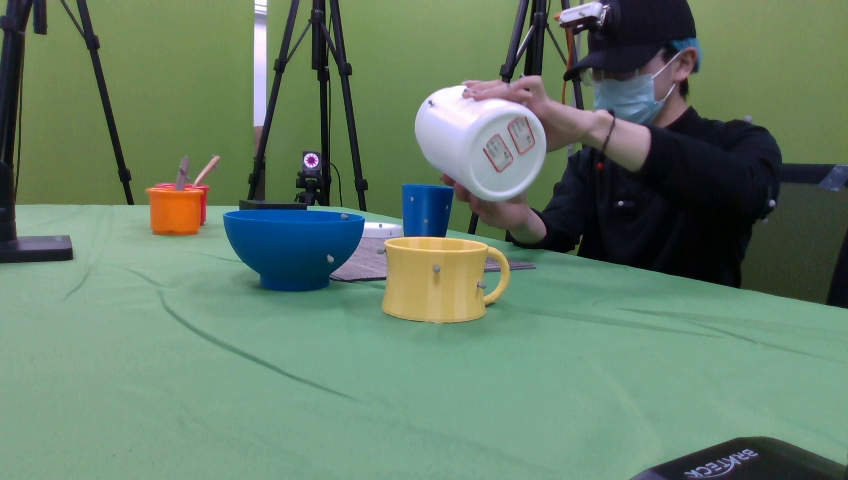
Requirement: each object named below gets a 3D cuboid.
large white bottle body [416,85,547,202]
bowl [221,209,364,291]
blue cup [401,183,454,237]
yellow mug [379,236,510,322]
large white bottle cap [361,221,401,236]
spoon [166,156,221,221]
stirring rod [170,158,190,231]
[{"bbox_3d":[0.071,-0.143,0.849,0.131,0.130,0.183,-1,24,-25],"label":"large white bottle body"},{"bbox_3d":[-0.142,0.011,0.660,0.151,0.077,0.151,2,7,0],"label":"bowl"},{"bbox_3d":[0.003,-0.038,0.966,0.093,0.100,0.092,4,8,0],"label":"blue cup"},{"bbox_3d":[0.024,0.034,0.575,0.131,0.064,0.099,1,7,-22],"label":"yellow mug"},{"bbox_3d":[-0.098,-0.021,1.123,0.115,0.018,0.115,3,7,0],"label":"large white bottle cap"},{"bbox_3d":[-0.447,-0.104,1.192,0.041,0.022,0.193,7,52,14],"label":"spoon"},{"bbox_3d":[-0.426,-0.083,1.059,0.014,0.006,0.175,2,49,-13],"label":"stirring rod"}]
